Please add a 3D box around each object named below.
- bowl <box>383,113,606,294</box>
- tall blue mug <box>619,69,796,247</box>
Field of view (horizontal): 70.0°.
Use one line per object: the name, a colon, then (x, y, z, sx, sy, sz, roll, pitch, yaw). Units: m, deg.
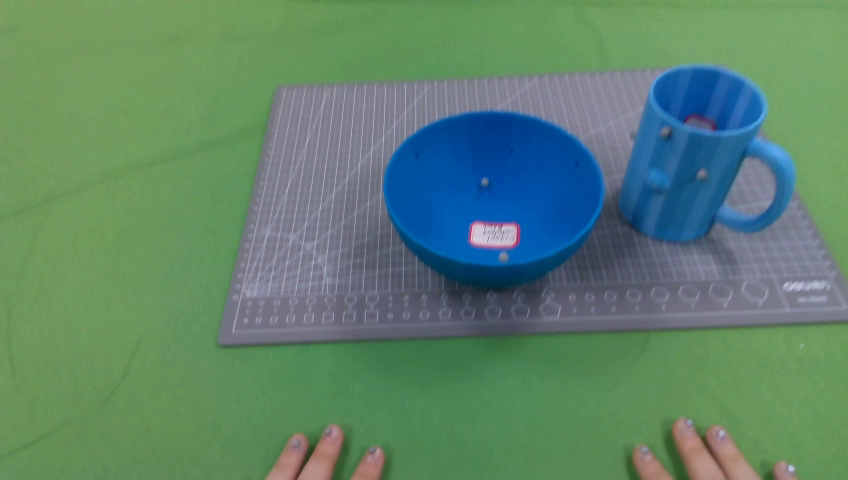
bowl: (0.049, -0.014, 0.439, 0.151, 0.077, 0.150, -1, 51, 2)
tall blue mug: (0.207, -0.054, 0.443, 0.107, 0.109, 0.077, 13, 52, 14)
